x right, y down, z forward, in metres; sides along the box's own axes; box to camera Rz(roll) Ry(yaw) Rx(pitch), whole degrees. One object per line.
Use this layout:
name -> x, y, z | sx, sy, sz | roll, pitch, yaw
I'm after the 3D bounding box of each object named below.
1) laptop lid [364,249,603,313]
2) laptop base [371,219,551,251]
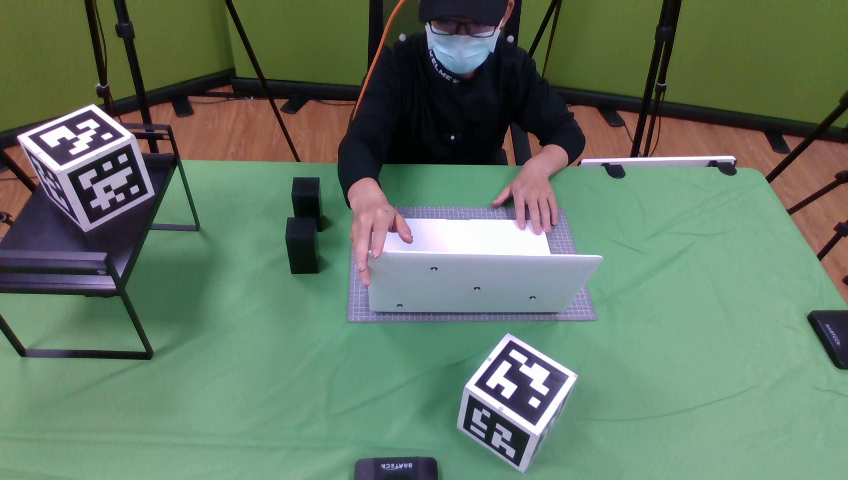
laptop lid -> 0.084, 0.072, 0.974 | 0.357, 0.242, 0.013 | 1, 61, -4
laptop base -> 0.074, 0.044, 1.159 | 0.354, 0.023, 0.234 | 0, 43, -3
